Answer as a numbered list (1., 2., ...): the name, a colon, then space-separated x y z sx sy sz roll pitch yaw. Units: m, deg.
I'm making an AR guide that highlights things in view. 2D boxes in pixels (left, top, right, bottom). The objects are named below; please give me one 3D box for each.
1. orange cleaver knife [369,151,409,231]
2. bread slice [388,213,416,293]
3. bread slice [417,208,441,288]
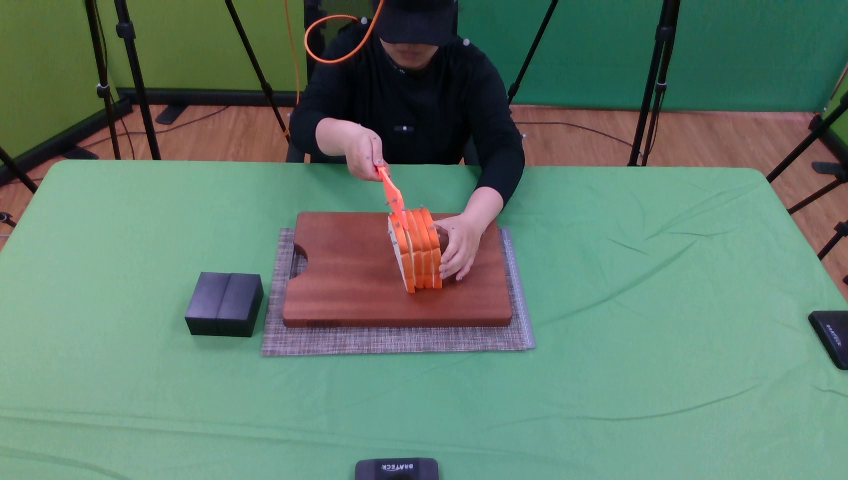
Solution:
1. orange cleaver knife: -0.062 -0.088 1.042 0.012 0.077 0.210 -17 36 -10
2. bread slice: -0.041 0.016 1.067 0.019 0.132 0.104 -16 46 -7
3. bread slice: 0.008 0.010 1.076 0.018 0.135 0.106 -13 51 -10
